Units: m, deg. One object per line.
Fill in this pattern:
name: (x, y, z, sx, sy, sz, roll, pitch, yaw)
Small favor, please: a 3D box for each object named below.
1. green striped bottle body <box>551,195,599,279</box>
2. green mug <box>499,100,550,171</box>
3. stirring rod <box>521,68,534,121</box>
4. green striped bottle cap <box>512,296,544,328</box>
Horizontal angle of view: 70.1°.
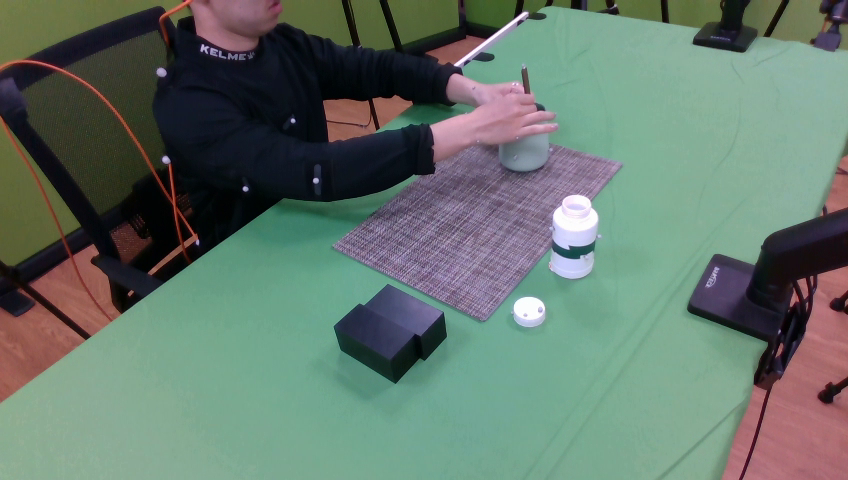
green striped bottle body: (0.217, -0.006, 0.870, 0.063, 0.120, 0.063, -4, 41, 4)
green mug: (0.183, -0.197, 1.101, 0.092, 0.105, 0.125, 0, 41, 9)
stirring rod: (0.187, -0.216, 1.058, 0.006, 0.177, 0.014, 11, 43, 34)
green striped bottle cap: (0.144, 0.099, 0.837, 0.044, 0.020, 0.044, -1, 43, 2)
